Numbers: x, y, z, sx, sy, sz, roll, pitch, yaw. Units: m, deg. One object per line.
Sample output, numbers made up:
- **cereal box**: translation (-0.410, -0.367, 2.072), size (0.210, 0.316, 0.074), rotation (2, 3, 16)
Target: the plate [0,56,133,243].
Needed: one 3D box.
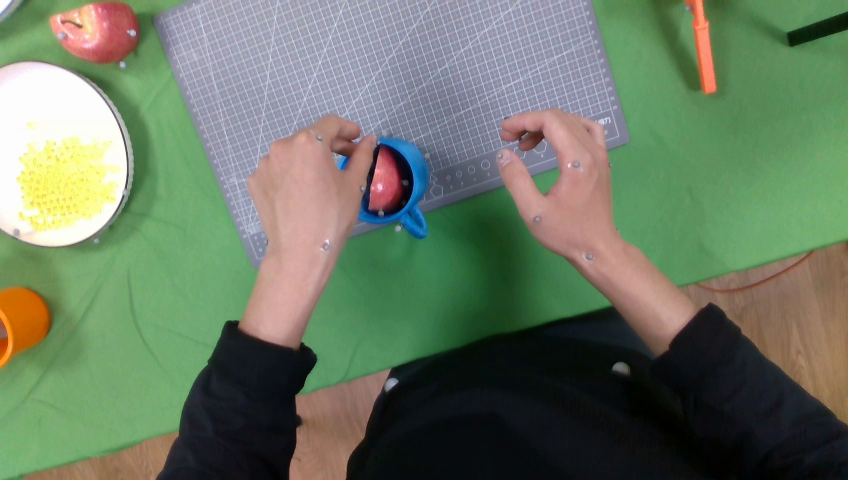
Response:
- **plate**: translation (-0.430, -0.101, 0.693), size (0.209, 0.038, 0.210), rotation (1, 102, 5)

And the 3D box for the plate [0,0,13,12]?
- **plate**: translation (-0.514, -0.338, 0.653), size (0.207, 0.039, 0.208), rotation (1, 102, 5)

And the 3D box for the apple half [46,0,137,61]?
- **apple half**: translation (-0.346, -0.219, 0.645), size (0.081, 0.074, 0.053), rotation (-15, 103, 4)

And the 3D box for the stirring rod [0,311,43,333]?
- **stirring rod**: translation (-0.537, 0.115, 0.692), size (0.177, 0.006, 0.014), rotation (-17, 89, -33)

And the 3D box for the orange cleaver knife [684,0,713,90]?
- **orange cleaver knife**: translation (0.254, -0.248, 0.581), size (0.012, 0.076, 0.213), rotation (-15, 126, 17)

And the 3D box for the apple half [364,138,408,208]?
- **apple half**: translation (-0.032, -0.066, 0.623), size (0.032, 0.081, 0.081), rotation (15, 102, 10)

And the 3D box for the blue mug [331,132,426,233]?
- **blue mug**: translation (-0.034, -0.057, 0.631), size (0.082, 0.105, 0.117), rotation (-33, 97, 11)

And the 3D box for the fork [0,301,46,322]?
- **fork**: translation (-0.551, 0.099, 0.688), size (0.208, 0.018, 0.028), rotation (-10, 102, -37)
